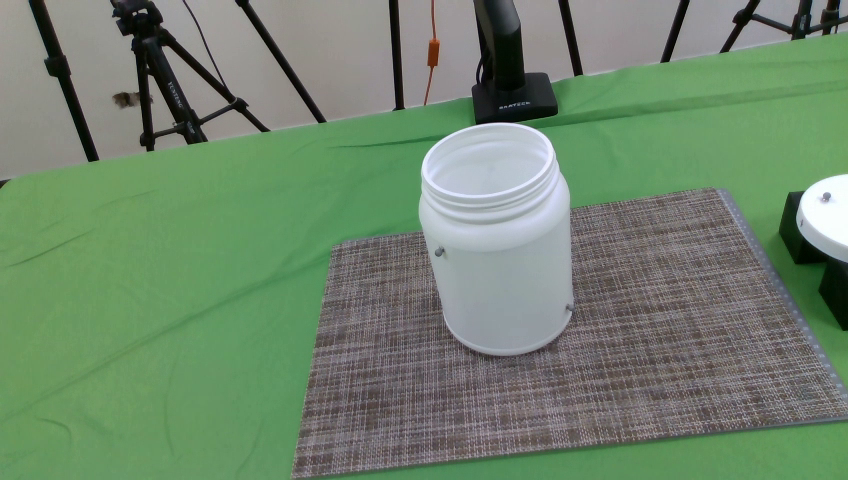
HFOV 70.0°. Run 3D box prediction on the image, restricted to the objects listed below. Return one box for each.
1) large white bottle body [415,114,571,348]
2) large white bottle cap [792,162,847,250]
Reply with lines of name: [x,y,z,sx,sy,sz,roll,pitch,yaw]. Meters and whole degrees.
large white bottle body: [0.064,-0.006,0.547,0.130,0.186,0.129,-8,42,7]
large white bottle cap: [0.393,-0.030,0.536,0.115,0.018,0.113,-8,41,7]
